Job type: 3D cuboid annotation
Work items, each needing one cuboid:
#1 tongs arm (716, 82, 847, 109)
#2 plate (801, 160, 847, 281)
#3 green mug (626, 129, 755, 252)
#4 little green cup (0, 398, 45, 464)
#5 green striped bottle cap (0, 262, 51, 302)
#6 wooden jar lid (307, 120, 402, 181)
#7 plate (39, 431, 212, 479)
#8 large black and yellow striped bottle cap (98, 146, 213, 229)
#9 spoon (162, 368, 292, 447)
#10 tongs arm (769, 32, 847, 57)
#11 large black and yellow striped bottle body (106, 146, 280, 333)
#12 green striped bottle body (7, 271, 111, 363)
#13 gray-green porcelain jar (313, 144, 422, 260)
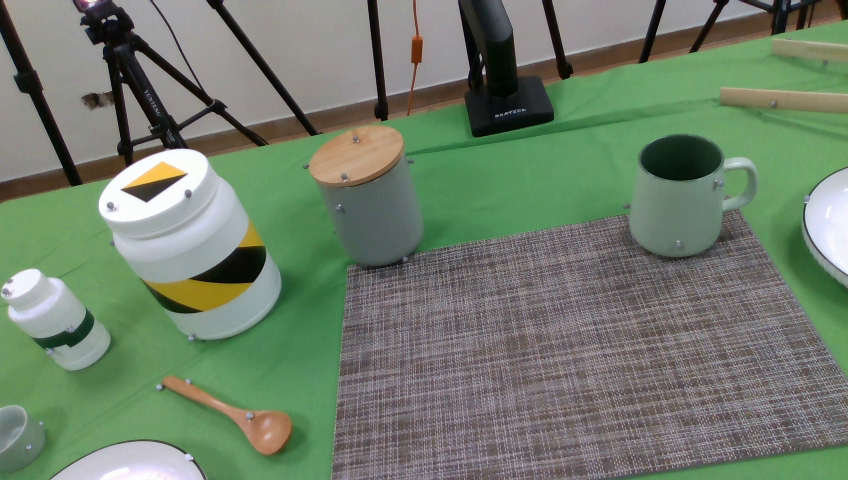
[{"bbox_3d":[0.531,-0.161,0.684,0.384,0.028,0.028,16,45,40],"label":"tongs arm"},{"bbox_3d":[0.476,-0.008,0.577,0.207,0.039,0.205,-8,44,8],"label":"plate"},{"bbox_3d":[0.275,-0.052,0.626,0.125,0.106,0.091,-10,43,6],"label":"green mug"},{"bbox_3d":[-0.429,0.200,0.626,0.061,0.039,0.061,-8,44,8],"label":"little green cup"},{"bbox_3d":[-0.426,0.044,0.648,0.044,0.020,0.044,-6,45,7],"label":"green striped bottle cap"},{"bbox_3d":[-0.075,-0.095,0.666,0.108,0.021,0.107,-11,42,10],"label":"wooden jar lid"},{"bbox_3d":[-0.272,0.265,0.514,0.209,0.038,0.207,-8,44,8],"label":"plate"},{"bbox_3d":[-0.270,-0.056,0.613,0.115,0.019,0.114,-8,43,8],"label":"large black and yellow striped bottle cap"},{"bbox_3d":[-0.205,0.160,0.613,0.192,0.022,0.041,15,70,28],"label":"spoon"},{"bbox_3d":[0.587,-0.208,0.714,0.051,0.027,0.381,-36,38,-21],"label":"tongs arm"},{"bbox_3d":[-0.252,0.001,0.671,0.130,0.186,0.129,-8,44,8],"label":"large black and yellow striped bottle body"},{"bbox_3d":[-0.415,0.081,0.683,0.063,0.120,0.062,-8,44,9],"label":"green striped bottle body"},{"bbox_3d":[-0.062,-0.048,0.706,0.106,0.128,0.105,-8,40,7],"label":"gray-green porcelain jar"}]
